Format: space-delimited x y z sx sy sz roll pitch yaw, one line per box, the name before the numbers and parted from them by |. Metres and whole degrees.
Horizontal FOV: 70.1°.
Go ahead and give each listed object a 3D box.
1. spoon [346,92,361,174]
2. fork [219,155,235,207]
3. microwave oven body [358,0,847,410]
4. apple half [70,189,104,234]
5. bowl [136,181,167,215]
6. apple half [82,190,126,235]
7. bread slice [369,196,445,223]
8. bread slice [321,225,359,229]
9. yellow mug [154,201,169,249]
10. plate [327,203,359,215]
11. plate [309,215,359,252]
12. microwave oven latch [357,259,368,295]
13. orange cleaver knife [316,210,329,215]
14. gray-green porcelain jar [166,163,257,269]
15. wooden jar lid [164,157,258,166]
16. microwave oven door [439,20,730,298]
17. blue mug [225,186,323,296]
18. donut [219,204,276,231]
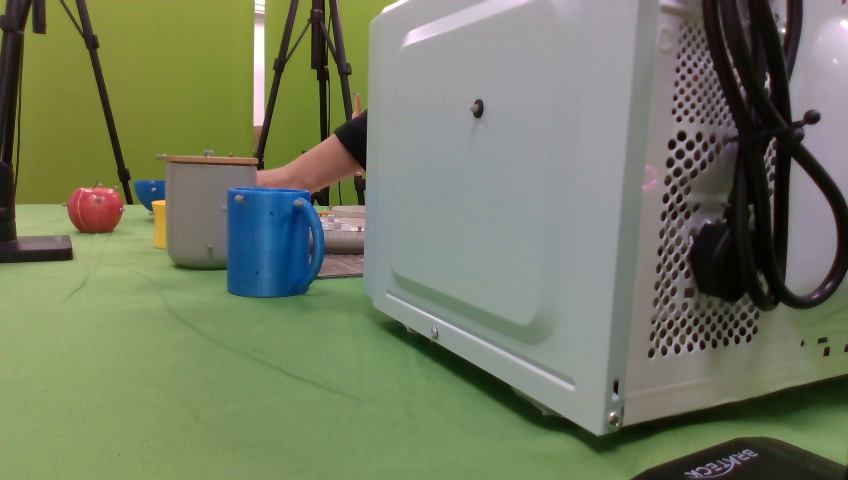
spoon | -0.133 -0.215 1.200 0.042 0.193 0.021 19 -28 -36
fork | -0.459 -0.134 1.415 0.028 0.018 0.207 -1 -34 -24
microwave oven body | 0.210 -0.051 0.471 0.444 0.260 0.324 -1 7 -28
apple half | -0.552 -0.048 1.010 0.053 0.074 0.081 -1 10 26
bowl | -0.497 -0.076 1.221 0.151 0.077 0.151 2 8 0
apple half | -0.516 -0.046 0.994 0.032 0.081 0.081 0 6 26
bread slice | -0.040 -0.057 1.142 0.107 0.018 0.133 -8 -8 -39
bread slice | -0.125 -0.009 0.938 0.131 0.019 0.105 6 9 32
yellow mug | -0.337 -0.022 0.899 0.130 0.064 0.100 8 10 35
plate | -0.102 -0.053 1.299 0.209 0.038 0.209 2 8 0
plate | -0.130 -0.011 0.945 0.208 0.039 0.207 2 7 0
microwave oven latch | -0.019 0.031 0.529 0.079 0.029 0.030 -1 7 -26
orange cleaver knife | -0.259 -0.064 1.423 0.212 0.012 0.077 -4 3 -30
gray-green porcelain jar | -0.263 -0.031 0.754 0.106 0.126 0.106 2 7 0
wooden jar lid | -0.261 -0.093 0.746 0.108 0.020 0.108 0 9 0
microwave oven door | 0.181 -0.076 0.618 0.358 0.243 0.039 -2 8 -28
blue mug | -0.148 0.000 0.618 0.116 0.106 0.083 7 9 33
donut | -0.316 -0.039 1.083 0.099 0.048 0.099 2 7 0
